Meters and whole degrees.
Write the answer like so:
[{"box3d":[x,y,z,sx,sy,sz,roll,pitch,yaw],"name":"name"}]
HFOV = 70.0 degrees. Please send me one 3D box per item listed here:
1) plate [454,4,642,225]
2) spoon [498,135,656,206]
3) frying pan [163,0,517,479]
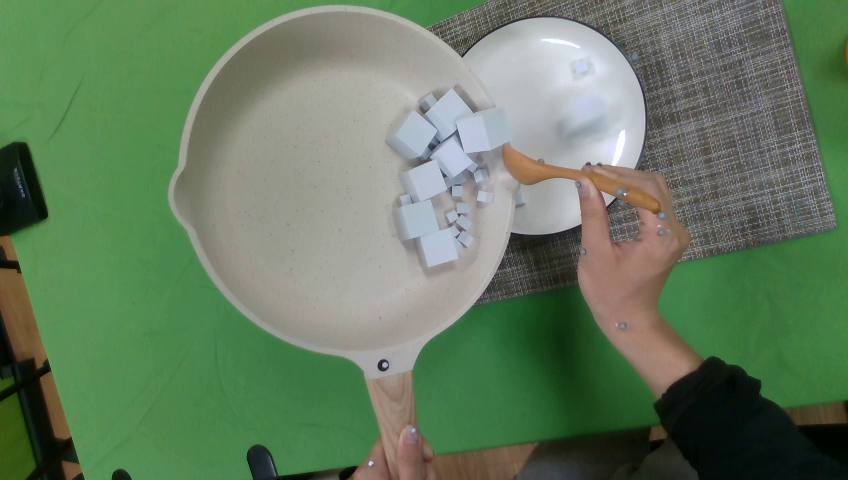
[{"box3d":[0.106,-0.119,0.596,0.207,0.039,0.208,3,100,22],"name":"plate"},{"box3d":[0.112,-0.057,0.482,0.021,0.192,0.042,-36,119,-16],"name":"spoon"},{"box3d":[-0.045,0.049,0.525,0.102,0.308,0.486,162,100,-66],"name":"frying pan"}]
